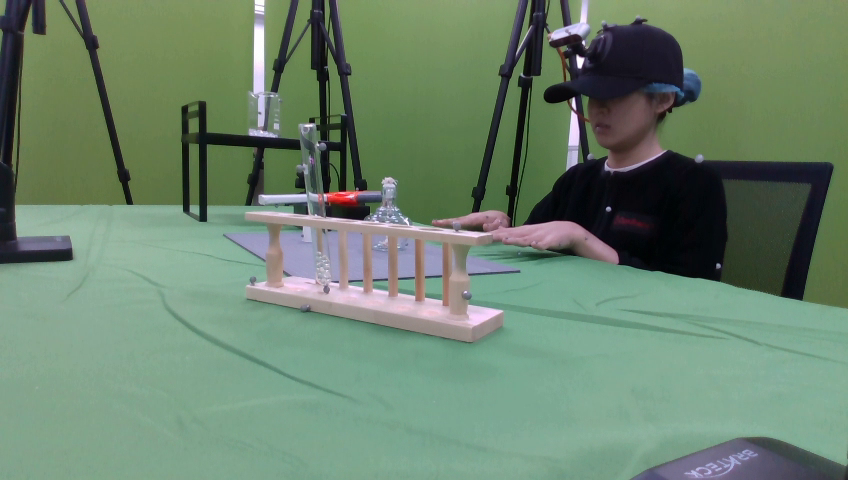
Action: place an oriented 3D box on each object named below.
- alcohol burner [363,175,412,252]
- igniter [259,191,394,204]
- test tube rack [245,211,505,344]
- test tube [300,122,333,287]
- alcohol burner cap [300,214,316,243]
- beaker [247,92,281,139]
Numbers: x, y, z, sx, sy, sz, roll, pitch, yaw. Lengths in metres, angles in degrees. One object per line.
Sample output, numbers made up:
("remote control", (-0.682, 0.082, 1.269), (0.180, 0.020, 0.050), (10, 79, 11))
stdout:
("alcohol burner", (-0.056, -0.041, 0.941), (0.078, 0.119, 0.078), (3, 5, 0))
("igniter", (-0.193, -0.085, 1.228), (0.278, 0.025, 0.057), (-3, 12, -28))
("test tube rack", (-0.049, 0.025, 0.547), (0.241, 0.085, 0.067), (7, 8, 29))
("test tube", (-0.096, -0.030, 0.543), (0.017, 0.150, 0.017), (-3, 14, 1))
("alcohol burner cap", (-0.186, -0.018, 0.991), (0.034, 0.048, 0.034), (2, 6, 0))
("beaker", (-0.361, -0.280, 1.359), (0.074, 0.100, 0.084), (4, 8, 8))
